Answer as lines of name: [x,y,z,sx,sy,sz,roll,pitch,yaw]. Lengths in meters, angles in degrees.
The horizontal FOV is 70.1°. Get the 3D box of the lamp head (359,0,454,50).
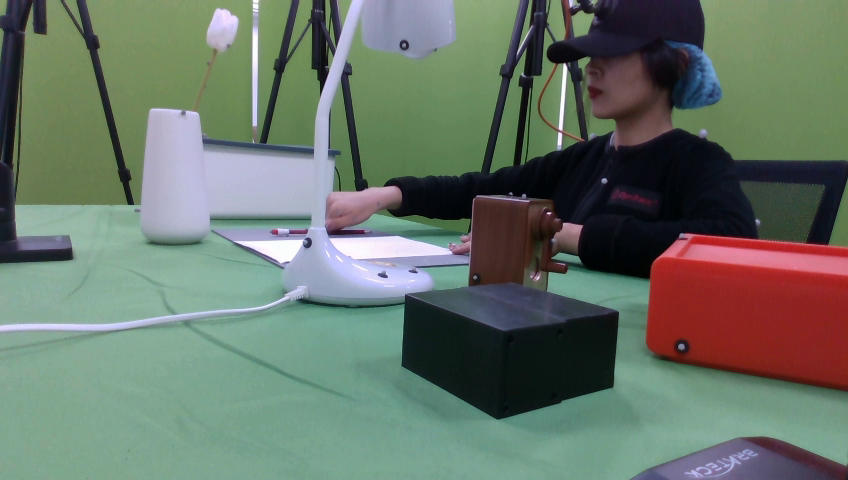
lamp head: [-0.024,-0.283,0.674,0.112,0.123,0.112,-3,38,3]

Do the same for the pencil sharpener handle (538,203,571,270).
pencil sharpener handle: [0.137,-0.003,0.619,0.030,0.067,0.036,8,6,38]

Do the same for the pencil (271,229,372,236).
pencil: [-0.178,-0.014,1.081,0.195,0.012,0.012,-1,8,-34]

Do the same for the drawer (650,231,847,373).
drawer: [0.303,0.044,0.499,0.194,0.073,0.212,7,9,27]

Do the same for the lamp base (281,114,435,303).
lamp base: [-0.071,-0.035,0.614,0.160,0.180,0.180,6,10,27]

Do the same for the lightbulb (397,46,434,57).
lightbulb: [-0.017,-0.264,0.692,0.059,0.108,0.059,-9,29,5]

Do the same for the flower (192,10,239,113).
flower: [-0.354,-0.174,0.915,0.038,0.361,0.044,18,-4,12]

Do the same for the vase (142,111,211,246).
vase: [-0.378,-0.093,0.920,0.098,0.200,0.098,2,9,0]

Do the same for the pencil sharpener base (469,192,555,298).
pencil sharpener base: [0.097,0.003,0.652,0.076,0.107,0.061,8,9,37]

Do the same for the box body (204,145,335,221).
box body: [-0.411,-0.135,1.386,0.366,0.160,0.253,-2,9,-29]

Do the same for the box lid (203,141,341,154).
box lid: [-0.396,-0.212,1.373,0.373,0.015,0.262,-1,9,-29]

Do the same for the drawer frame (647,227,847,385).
drawer frame: [0.303,0.043,0.495,0.201,0.082,0.214,6,9,26]
